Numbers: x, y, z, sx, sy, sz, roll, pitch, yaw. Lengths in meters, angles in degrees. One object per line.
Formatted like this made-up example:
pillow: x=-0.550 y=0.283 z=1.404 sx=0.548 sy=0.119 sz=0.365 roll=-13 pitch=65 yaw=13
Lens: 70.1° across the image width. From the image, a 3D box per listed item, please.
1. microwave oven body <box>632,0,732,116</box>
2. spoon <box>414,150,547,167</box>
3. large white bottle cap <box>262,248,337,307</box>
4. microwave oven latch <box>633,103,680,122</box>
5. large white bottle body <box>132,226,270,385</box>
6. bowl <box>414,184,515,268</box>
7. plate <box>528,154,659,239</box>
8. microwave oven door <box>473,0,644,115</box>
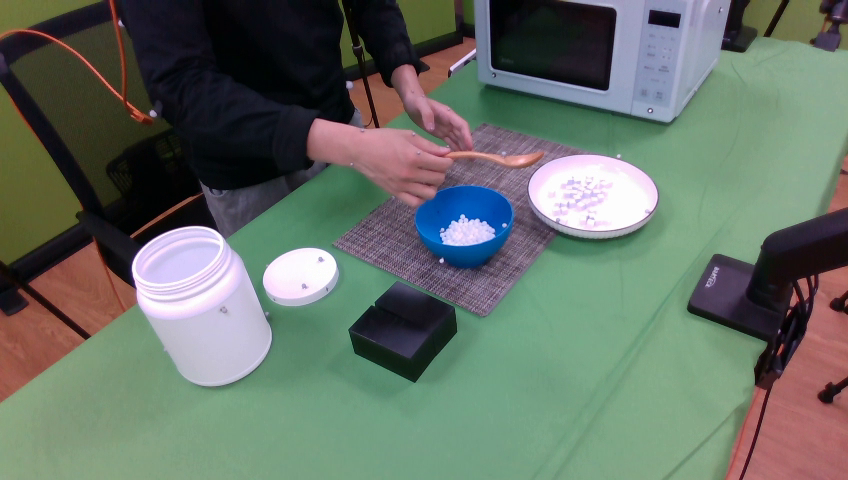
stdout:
microwave oven body: x=0.377 y=-0.463 z=1.267 sx=0.438 sy=0.261 sz=0.327 roll=21 pitch=49 yaw=30
spoon: x=0.071 y=-0.112 z=0.811 sx=0.192 sy=0.022 sz=0.042 roll=7 pitch=32 yaw=28
large white bottle cap: x=-0.193 y=0.056 z=0.933 sx=0.115 sy=0.018 sz=0.114 roll=-5 pitch=41 yaw=5
microwave oven latch: x=0.444 y=-0.249 z=1.157 sx=0.078 sy=0.029 sz=0.030 roll=21 pitch=49 yaw=30
large white bottle body: x=-0.286 y=0.085 z=0.783 sx=0.130 sy=0.185 sz=0.130 roll=-4 pitch=41 yaw=4
bowl: x=0.063 y=-0.011 z=0.922 sx=0.151 sy=0.077 sz=0.150 roll=-4 pitch=40 yaw=4
plate: x=0.274 y=-0.069 z=0.993 sx=0.209 sy=0.038 sz=0.208 roll=-2 pitch=42 yaw=2
microwave oven door: x=0.257 y=-0.396 z=1.199 sx=0.353 sy=0.245 sz=0.039 roll=21 pitch=48 yaw=29
